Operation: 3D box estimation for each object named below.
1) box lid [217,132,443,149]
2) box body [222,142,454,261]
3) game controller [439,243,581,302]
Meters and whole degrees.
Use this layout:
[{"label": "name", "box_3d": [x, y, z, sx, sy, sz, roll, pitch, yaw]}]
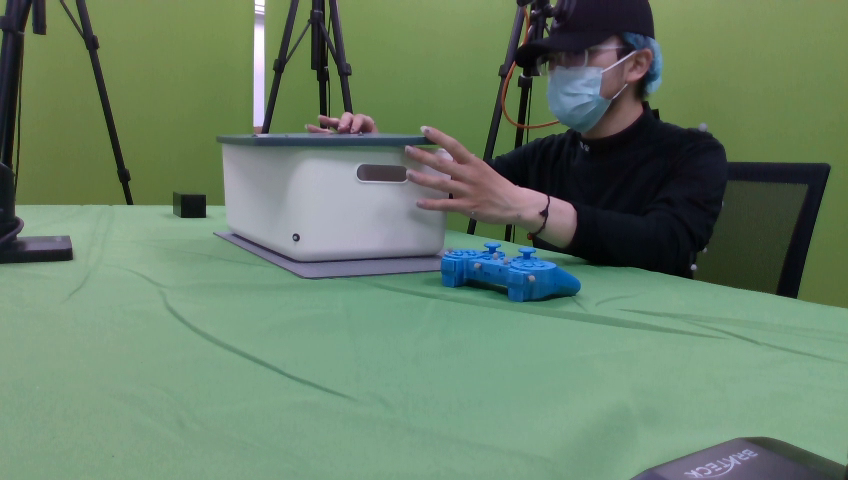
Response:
[{"label": "box lid", "box_3d": [-0.160, -0.154, 0.927, 0.264, 0.015, 0.369, -7, 12, -26]}, {"label": "box body", "box_3d": [-0.152, -0.074, 0.963, 0.255, 0.160, 0.362, -3, 9, -33]}, {"label": "game controller", "box_3d": [0.090, 0.033, 0.685, 0.154, 0.051, 0.097, 8, 12, 42]}]
